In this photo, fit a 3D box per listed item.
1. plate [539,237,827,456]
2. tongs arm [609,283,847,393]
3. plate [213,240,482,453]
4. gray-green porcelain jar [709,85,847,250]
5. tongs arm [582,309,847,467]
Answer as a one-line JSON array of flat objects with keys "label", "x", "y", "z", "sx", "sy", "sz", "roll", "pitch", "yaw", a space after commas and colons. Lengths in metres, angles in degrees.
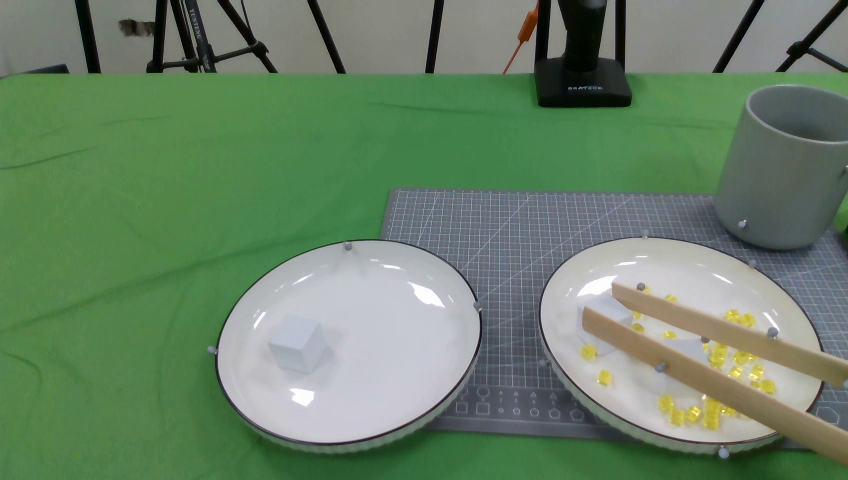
[{"label": "plate", "x": 0.195, "y": 0.079, "z": 0.476, "sx": 0.207, "sy": 0.039, "sz": 0.205, "roll": -1, "pitch": 41, "yaw": 2}, {"label": "tongs arm", "x": 0.276, "y": 0.105, "z": 0.355, "sx": 0.381, "sy": 0.027, "sz": 0.050, "roll": 20, "pitch": 45, "yaw": 38}, {"label": "plate", "x": -0.058, "y": 0.081, "z": 0.487, "sx": 0.209, "sy": 0.038, "sz": 0.207, "roll": -3, "pitch": 41, "yaw": 3}, {"label": "gray-green porcelain jar", "x": 0.332, "y": -0.063, "z": 0.563, "sx": 0.106, "sy": 0.127, "sz": 0.105, "roll": -2, "pitch": 41, "yaw": 2}, {"label": "tongs arm", "x": 0.258, "y": 0.118, "z": 0.342, "sx": 0.384, "sy": 0.028, "sz": 0.028, "roll": 23, "pitch": 44, "yaw": 40}]
